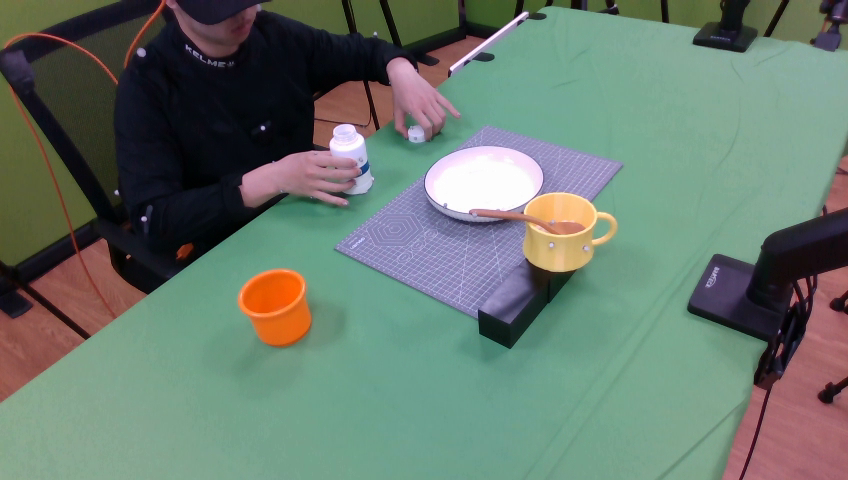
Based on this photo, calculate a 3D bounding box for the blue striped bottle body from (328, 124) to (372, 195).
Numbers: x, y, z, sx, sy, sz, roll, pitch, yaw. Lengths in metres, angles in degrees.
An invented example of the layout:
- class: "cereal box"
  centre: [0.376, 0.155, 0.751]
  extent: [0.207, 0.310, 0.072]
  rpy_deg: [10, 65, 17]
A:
- class: "blue striped bottle body"
  centre: [-0.134, -0.146, 1.082]
  extent: [0.063, 0.121, 0.063]
  rpy_deg: [-4, 41, 4]

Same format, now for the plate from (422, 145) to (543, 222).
- class: "plate"
  centre: [0.101, -0.094, 1.048]
  extent: [0.207, 0.039, 0.206]
  rpy_deg: [-4, 41, 4]

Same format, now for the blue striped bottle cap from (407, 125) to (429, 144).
- class: "blue striped bottle cap"
  centre: [-0.012, -0.214, 1.227]
  extent: [0.044, 0.021, 0.044]
  rpy_deg: [-5, 37, 4]

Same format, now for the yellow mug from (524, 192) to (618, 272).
- class: "yellow mug"
  centre: [0.206, -0.014, 0.845]
  extent: [0.131, 0.064, 0.099]
  rpy_deg: [-4, 41, 2]

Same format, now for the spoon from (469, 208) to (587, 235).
- class: "spoon"
  centre: [0.143, -0.026, 0.817]
  extent: [0.195, 0.021, 0.041]
  rpy_deg: [12, 34, -29]
